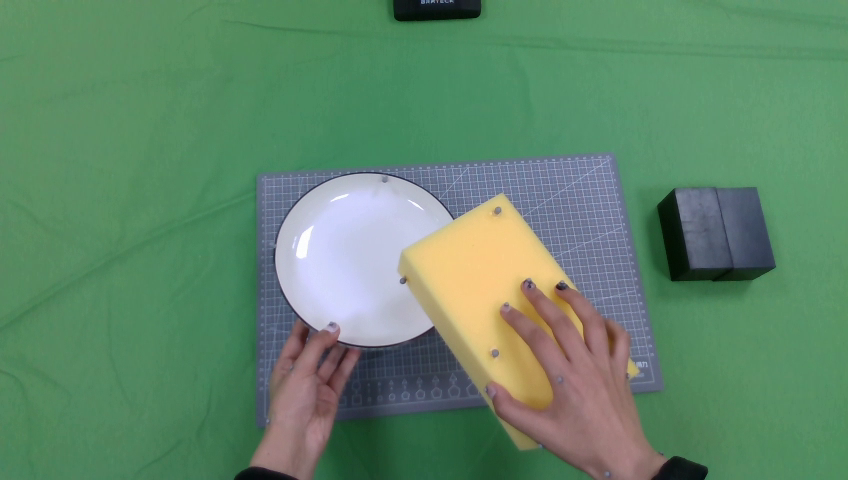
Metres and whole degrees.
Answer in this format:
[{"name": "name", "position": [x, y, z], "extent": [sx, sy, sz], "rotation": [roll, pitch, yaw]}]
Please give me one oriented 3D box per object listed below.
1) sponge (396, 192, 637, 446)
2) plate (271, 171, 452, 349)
[{"name": "sponge", "position": [0.080, 0.071, 0.567], "extent": [0.118, 0.061, 0.205], "rotation": [-32, 75, -18]}, {"name": "plate", "position": [-0.059, 0.022, 0.666], "extent": [0.209, 0.038, 0.207], "rotation": [4, 65, -9]}]
